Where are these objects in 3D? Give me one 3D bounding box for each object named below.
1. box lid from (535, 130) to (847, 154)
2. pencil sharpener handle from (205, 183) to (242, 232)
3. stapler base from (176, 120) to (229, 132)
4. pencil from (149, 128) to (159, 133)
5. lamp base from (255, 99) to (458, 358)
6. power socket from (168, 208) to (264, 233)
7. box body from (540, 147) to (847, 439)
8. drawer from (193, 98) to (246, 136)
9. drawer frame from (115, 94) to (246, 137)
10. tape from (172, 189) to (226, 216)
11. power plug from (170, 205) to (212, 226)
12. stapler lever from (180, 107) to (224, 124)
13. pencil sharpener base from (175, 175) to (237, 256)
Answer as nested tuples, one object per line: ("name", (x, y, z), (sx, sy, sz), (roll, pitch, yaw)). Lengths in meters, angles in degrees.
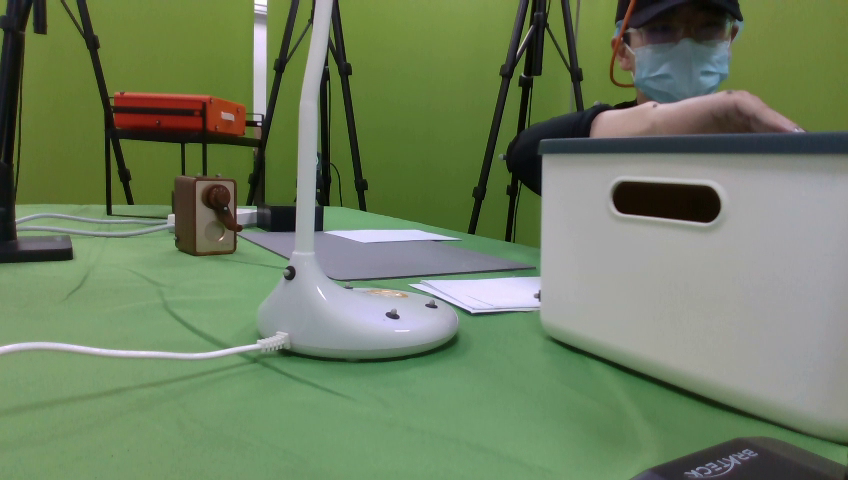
("box lid", (0.300, -0.066, 0.465), (0.373, 0.015, 0.262), (-3, 9, -32))
("pencil sharpener handle", (-0.265, -0.043, 0.812), (0.036, 0.068, 0.030), (-31, 27, -35))
("stapler base", (-0.496, -0.257, 1.364), (0.041, 0.024, 0.131), (2, 9, 22))
("pencil", (-0.528, -0.258, 1.361), (0.012, 0.012, 0.195), (8, 20, 35))
("lamp base", (-0.056, -0.013, 0.462), (0.160, 0.180, 0.180), (6, 11, 27))
("power socket", (-0.381, -0.038, 1.129), (0.072, 0.032, 0.227), (4, 8, 17))
("box body", (0.296, 0.007, 0.474), (0.366, 0.160, 0.253), (-3, 8, -32))
("drawer", (-0.540, -0.279, 1.374), (0.212, 0.073, 0.194), (2, 8, 5))
("drawer frame", (-0.543, -0.281, 1.374), (0.213, 0.082, 0.201), (2, 8, 4))
("tape", (-0.515, -0.087, 1.388), (0.117, 0.052, 0.117), (3, 8, 0))
("power plug", (-0.455, -0.041, 1.196), (0.052, 0.035, 0.072), (1, 42, 23))
("stapler lever", (-0.496, -0.281, 1.359), (0.027, 0.040, 0.118), (2, 7, 22))
("pencil sharpener base", (-0.305, -0.036, 0.847), (0.062, 0.107, 0.076), (-4, 10, -42))
